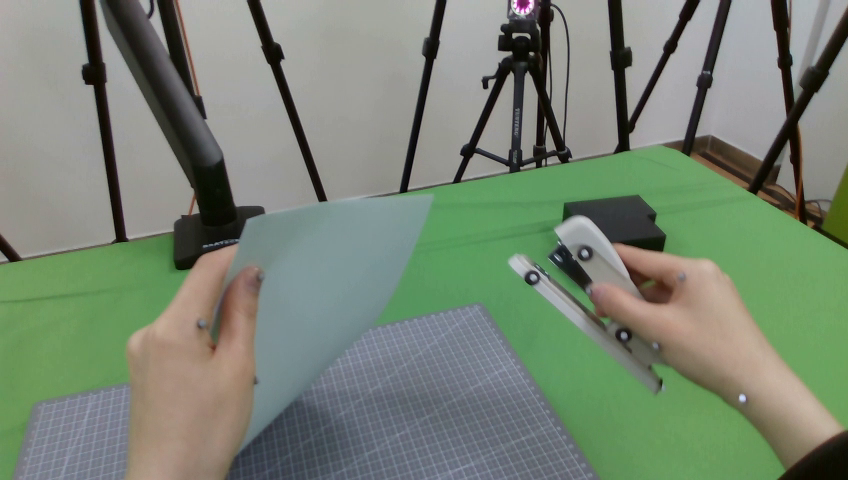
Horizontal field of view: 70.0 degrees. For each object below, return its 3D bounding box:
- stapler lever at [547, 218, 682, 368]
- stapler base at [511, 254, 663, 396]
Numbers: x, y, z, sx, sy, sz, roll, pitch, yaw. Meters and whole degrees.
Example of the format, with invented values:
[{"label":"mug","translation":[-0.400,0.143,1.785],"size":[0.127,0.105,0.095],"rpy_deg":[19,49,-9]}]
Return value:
[{"label":"stapler lever","translation":[0.134,0.033,0.412],"size":[0.118,0.040,0.027],"rpy_deg":[44,13,4]},{"label":"stapler base","translation":[0.116,0.051,0.417],"size":[0.130,0.024,0.041],"rpy_deg":[43,13,4]}]
